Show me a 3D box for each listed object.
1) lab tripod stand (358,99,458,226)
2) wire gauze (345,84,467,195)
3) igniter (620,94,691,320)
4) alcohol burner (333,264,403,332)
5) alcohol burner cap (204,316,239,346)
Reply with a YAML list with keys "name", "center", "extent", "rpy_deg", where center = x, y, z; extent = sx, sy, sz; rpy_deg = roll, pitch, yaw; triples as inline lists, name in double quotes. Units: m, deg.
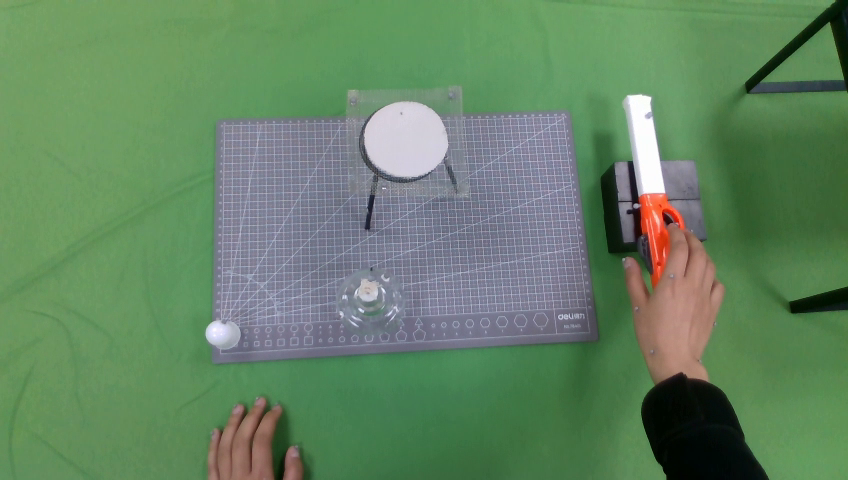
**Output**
- name: "lab tripod stand"
  center: [-0.030, -0.092, 0.688]
  extent: [0.148, 0.132, 0.147]
  rpy_deg: [1, 76, -2]
- name: "wire gauze"
  center: [-0.019, -0.104, 0.622]
  extent: [0.125, 0.011, 0.121]
  rpy_deg: [0, 76, -3]
- name: "igniter"
  center: [0.267, -0.043, 0.706]
  extent: [0.057, 0.025, 0.275]
  rpy_deg: [-2, 74, -7]
- name: "alcohol burner"
  center: [-0.061, 0.061, 0.659]
  extent: [0.078, 0.119, 0.077]
  rpy_deg: [1, 77, -2]
- name: "alcohol burner cap"
  center: [-0.228, 0.100, 0.674]
  extent: [0.034, 0.048, 0.033]
  rpy_deg: [1, 74, -5]
